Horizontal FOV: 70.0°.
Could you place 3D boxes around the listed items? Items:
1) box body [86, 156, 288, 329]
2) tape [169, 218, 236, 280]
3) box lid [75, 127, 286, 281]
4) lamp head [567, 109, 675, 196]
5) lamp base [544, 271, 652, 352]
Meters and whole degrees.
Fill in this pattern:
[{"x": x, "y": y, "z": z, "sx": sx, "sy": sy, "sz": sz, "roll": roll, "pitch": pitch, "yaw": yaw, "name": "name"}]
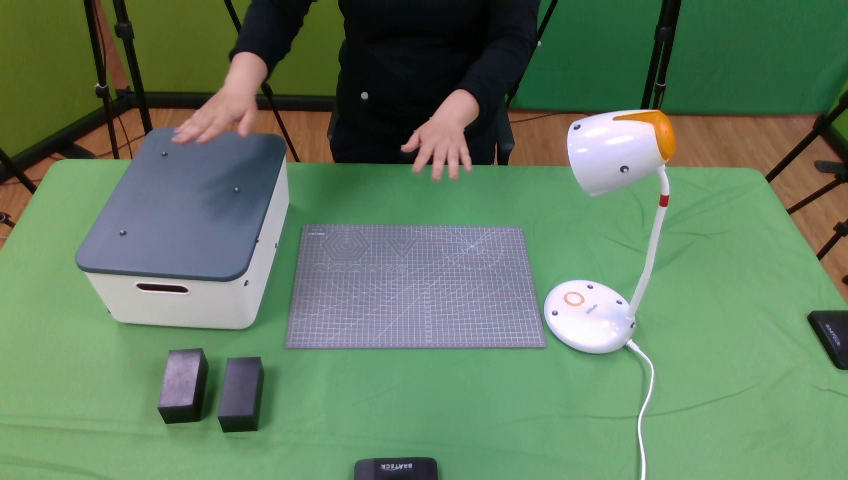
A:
[{"x": -0.401, "y": -0.025, "z": 1.094, "sx": 0.254, "sy": 0.161, "sz": 0.362, "roll": 3, "pitch": 46, "yaw": -1, "name": "box body"}, {"x": -0.408, "y": 0.015, "z": 1.122, "sx": 0.117, "sy": 0.053, "sz": 0.116, "roll": 2, "pitch": 46, "yaw": -2, "name": "tape"}, {"x": -0.398, "y": -0.075, "z": 1.039, "sx": 0.263, "sy": 0.015, "sz": 0.369, "roll": 4, "pitch": 45, "yaw": -1, "name": "box lid"}, {"x": 0.272, "y": -0.123, "z": 0.818, "sx": 0.122, "sy": 0.113, "sz": 0.112, "roll": -9, "pitch": 35, "yaw": 37, "name": "lamp head"}, {"x": 0.310, "y": 0.086, "z": 1.029, "sx": 0.178, "sy": 0.181, "sz": 0.160, "roll": 32, "pitch": 52, "yaw": 21, "name": "lamp base"}]
